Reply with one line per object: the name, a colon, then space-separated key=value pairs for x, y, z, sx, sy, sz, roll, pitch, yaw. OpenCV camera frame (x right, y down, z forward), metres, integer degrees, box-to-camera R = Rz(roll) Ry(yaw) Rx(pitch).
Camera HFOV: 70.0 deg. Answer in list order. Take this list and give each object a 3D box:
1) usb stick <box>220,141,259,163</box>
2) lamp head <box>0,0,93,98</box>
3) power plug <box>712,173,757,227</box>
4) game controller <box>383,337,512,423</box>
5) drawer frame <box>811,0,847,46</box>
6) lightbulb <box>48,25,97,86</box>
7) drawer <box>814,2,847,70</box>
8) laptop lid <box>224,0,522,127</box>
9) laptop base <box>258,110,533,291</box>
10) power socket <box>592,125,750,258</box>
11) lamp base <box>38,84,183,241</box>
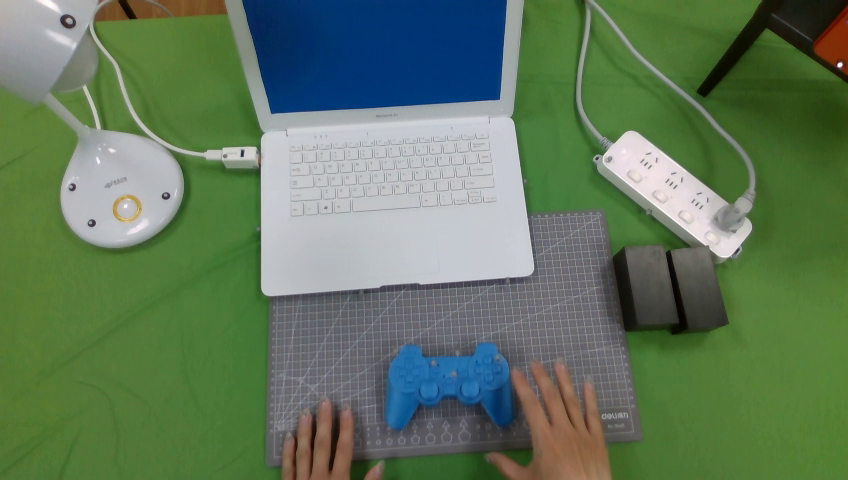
usb stick: x=-0.241 y=-0.118 z=0.816 sx=0.059 sy=0.027 sz=0.021 roll=0 pitch=67 yaw=-4
lamp head: x=-0.338 y=-0.187 z=0.466 sx=0.124 sy=0.112 sz=0.112 roll=28 pitch=68 yaw=-36
power plug: x=0.405 y=-0.045 z=0.783 sx=0.072 sy=0.053 sz=0.035 roll=-35 pitch=75 yaw=-13
game controller: x=0.028 y=0.166 z=0.726 sx=0.155 sy=0.052 sz=0.096 roll=-1 pitch=68 yaw=-1
drawer frame: x=0.577 y=-0.243 z=0.657 sx=0.201 sy=0.083 sz=0.213 roll=41 pitch=76 yaw=12
lightbulb: x=-0.316 y=-0.169 z=0.481 sx=0.059 sy=0.109 sz=0.059 roll=-20 pitch=51 yaw=27
drawer: x=0.575 y=-0.239 z=0.657 sx=0.193 sy=0.073 sz=0.211 roll=41 pitch=76 yaw=12
laptop lid: x=-0.056 y=-0.247 z=0.761 sx=0.357 sy=0.244 sz=0.013 roll=-5 pitch=48 yaw=-1
laptop base: x=-0.043 y=-0.057 z=0.813 sx=0.354 sy=0.023 sz=0.234 roll=-4 pitch=75 yaw=-2
power socket: x=0.331 y=-0.066 z=0.813 sx=0.225 sy=0.033 sz=0.072 roll=42 pitch=77 yaw=12
lamp base: x=-0.410 y=-0.107 z=0.736 sx=0.160 sy=0.181 sz=0.178 roll=-34 pitch=73 yaw=-11
